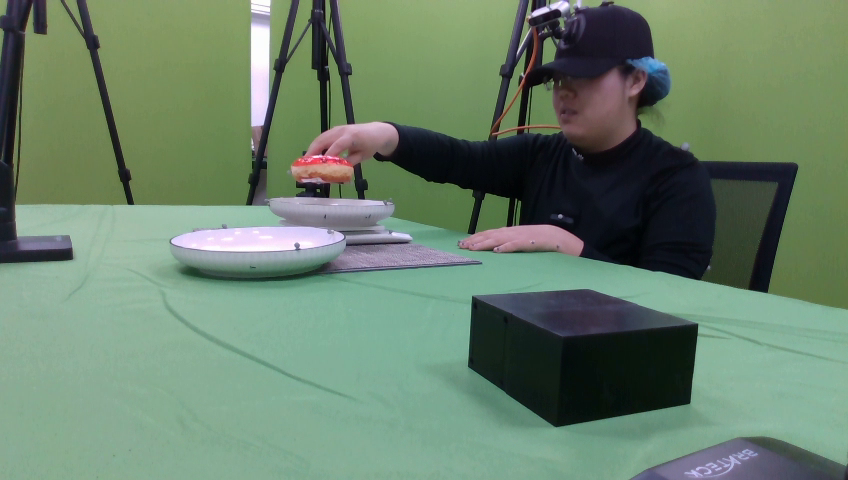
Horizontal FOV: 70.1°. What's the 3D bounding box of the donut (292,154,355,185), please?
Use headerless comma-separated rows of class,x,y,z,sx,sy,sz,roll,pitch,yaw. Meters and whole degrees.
donut,-0.159,-0.111,0.959,0.099,0.048,0.099,0,2,0

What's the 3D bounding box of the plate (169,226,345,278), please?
plate,-0.202,0.014,0.748,0.209,0.038,0.209,1,9,0

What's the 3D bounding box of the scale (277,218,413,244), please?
scale,-0.134,-0.015,1.015,0.202,0.031,0.148,-1,9,-33

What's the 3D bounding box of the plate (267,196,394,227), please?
plate,-0.152,-0.047,0.998,0.208,0.039,0.207,2,6,0
